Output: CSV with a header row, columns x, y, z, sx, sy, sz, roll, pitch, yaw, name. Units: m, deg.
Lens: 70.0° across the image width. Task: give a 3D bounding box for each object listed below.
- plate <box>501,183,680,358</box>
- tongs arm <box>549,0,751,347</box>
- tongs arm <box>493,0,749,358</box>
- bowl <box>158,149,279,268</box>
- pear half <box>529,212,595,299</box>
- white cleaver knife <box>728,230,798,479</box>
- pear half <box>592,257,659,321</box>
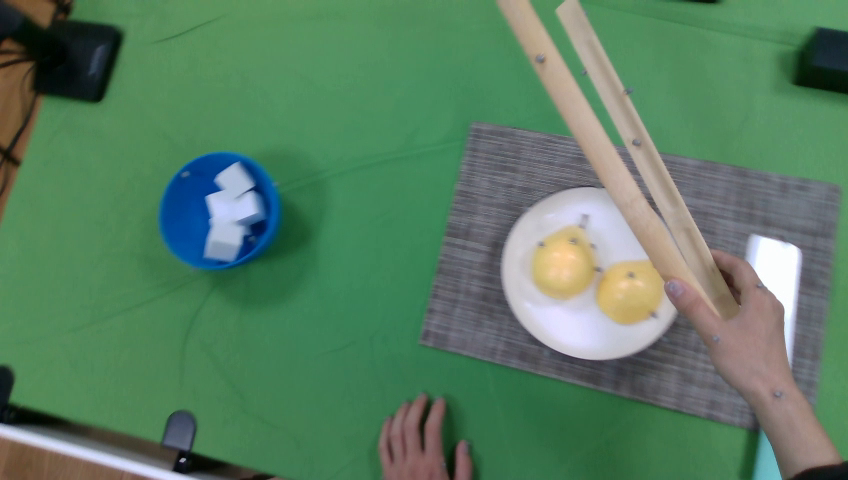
x,y,z,sx,sy,sz,roll,pitch,yaw,name
0.196,0.035,0.718,0.207,0.039,0.206,-2,78,8,plate
0.211,-0.072,0.589,0.026,0.051,0.383,-31,83,37,tongs arm
0.173,-0.057,0.538,0.028,0.028,0.387,-32,91,33,tongs arm
-0.249,-0.032,0.775,0.151,0.077,0.150,-2,78,7,bowl
0.168,0.010,0.713,0.076,0.056,0.109,23,77,8,pear half
0.381,0.127,0.688,0.065,0.022,0.285,8,76,17,white cleaver knife
0.239,0.052,0.704,0.088,0.031,0.070,-45,80,3,pear half
